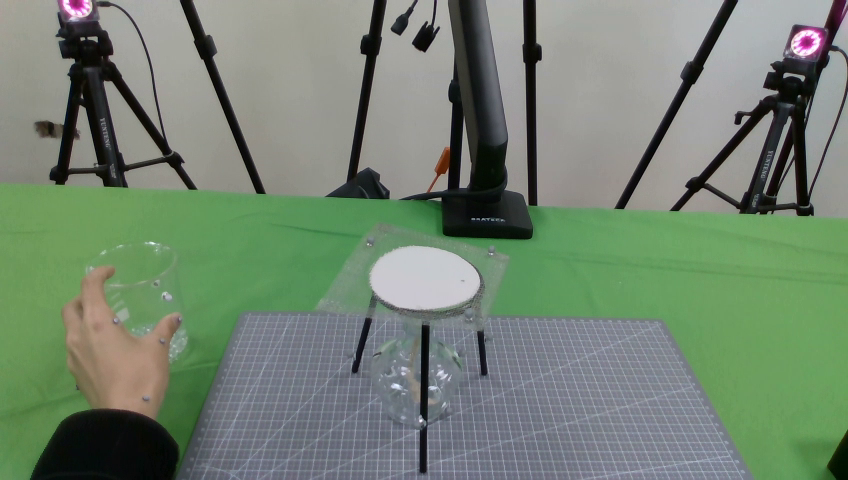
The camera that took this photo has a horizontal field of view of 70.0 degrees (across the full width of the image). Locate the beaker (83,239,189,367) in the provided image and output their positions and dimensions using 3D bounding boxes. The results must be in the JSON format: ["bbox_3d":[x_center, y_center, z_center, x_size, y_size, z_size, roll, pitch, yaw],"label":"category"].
[{"bbox_3d":[-0.258,0.058,0.557,0.074,0.101,0.083,9,31,8],"label":"beaker"}]

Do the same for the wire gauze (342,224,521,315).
[{"bbox_3d":[0.004,0.016,0.452,0.125,0.011,0.120,7,25,-8],"label":"wire gauze"}]

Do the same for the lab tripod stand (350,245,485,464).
[{"bbox_3d":[0.000,0.084,0.500,0.148,0.132,0.147,4,32,-2],"label":"lab tripod stand"}]

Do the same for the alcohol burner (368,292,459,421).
[{"bbox_3d":[-0.008,0.092,0.506,0.078,0.120,0.077,4,31,-2],"label":"alcohol burner"}]
